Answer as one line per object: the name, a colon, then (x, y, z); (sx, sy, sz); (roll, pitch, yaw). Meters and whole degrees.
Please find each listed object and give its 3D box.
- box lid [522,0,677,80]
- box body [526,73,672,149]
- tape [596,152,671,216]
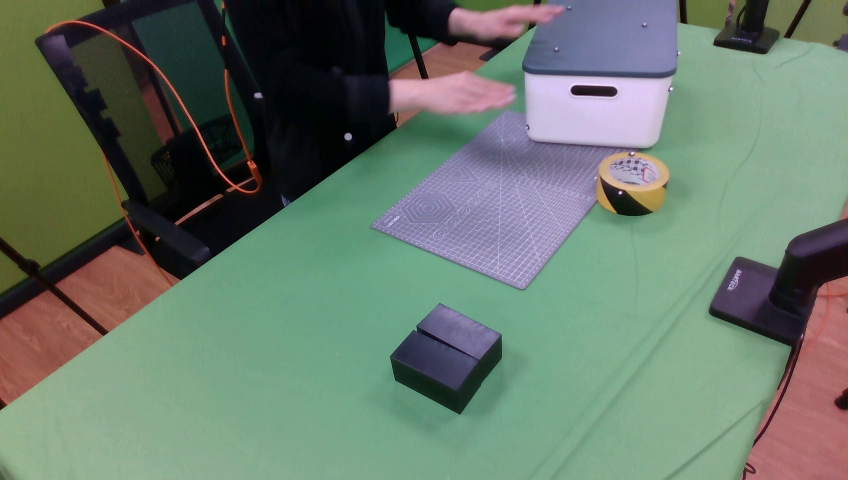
box lid: (0.346, -0.397, 1.162); (0.262, 0.015, 0.371); (6, 42, 17)
box body: (0.356, -0.342, 1.212); (0.253, 0.161, 0.363); (7, 42, 17)
tape: (0.349, -0.095, 1.009); (0.117, 0.053, 0.116); (-3, 42, 3)
